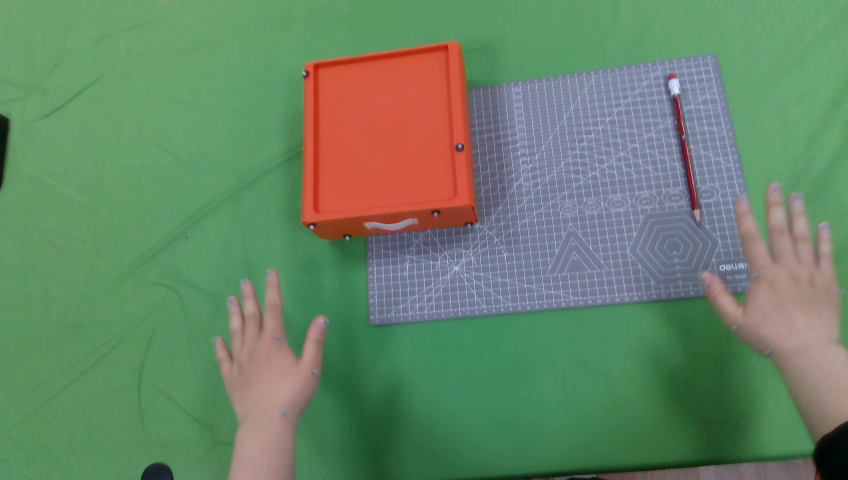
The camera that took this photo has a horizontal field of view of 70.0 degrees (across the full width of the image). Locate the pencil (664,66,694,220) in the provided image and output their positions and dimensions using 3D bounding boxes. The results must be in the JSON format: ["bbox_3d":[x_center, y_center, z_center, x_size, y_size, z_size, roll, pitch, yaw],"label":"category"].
[{"bbox_3d":[0.303,-0.116,0.716,0.012,0.012,0.193,-5,77,8],"label":"pencil"}]

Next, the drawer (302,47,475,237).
[{"bbox_3d":[-0.045,-0.117,0.738,0.194,0.074,0.210,-6,73,9],"label":"drawer"}]

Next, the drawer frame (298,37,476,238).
[{"bbox_3d":[-0.047,-0.119,0.737,0.201,0.083,0.212,-7,73,9],"label":"drawer frame"}]
